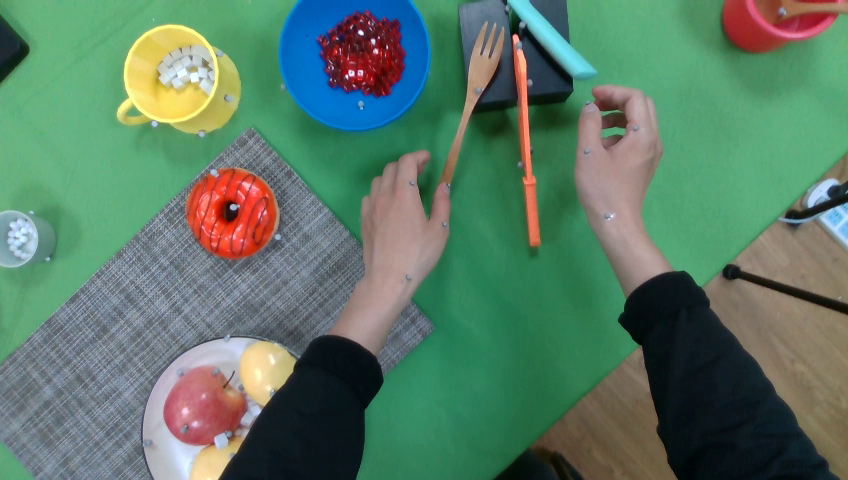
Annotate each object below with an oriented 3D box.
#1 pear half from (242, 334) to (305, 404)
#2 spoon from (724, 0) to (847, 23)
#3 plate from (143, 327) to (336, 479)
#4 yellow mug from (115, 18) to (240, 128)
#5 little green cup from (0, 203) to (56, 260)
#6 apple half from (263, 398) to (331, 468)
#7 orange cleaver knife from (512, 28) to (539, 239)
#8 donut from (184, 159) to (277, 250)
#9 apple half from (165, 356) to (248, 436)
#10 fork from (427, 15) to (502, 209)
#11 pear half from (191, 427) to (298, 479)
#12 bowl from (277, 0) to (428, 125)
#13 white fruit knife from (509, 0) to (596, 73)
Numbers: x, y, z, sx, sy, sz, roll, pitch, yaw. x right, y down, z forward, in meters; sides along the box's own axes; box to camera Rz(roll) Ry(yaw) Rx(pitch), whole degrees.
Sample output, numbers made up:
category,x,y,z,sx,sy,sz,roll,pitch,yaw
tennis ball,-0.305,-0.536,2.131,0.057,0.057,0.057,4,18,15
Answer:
category,x,y,z,sx,sy,sz,roll,pitch,yaw
pear half,-0.164,0.144,0.642,0.070,0.031,0.088,-17,95,22
spoon,0.384,-0.225,0.575,0.192,0.022,0.041,24,93,46
plate,-0.195,0.195,0.658,0.209,0.038,0.209,0,91,3
yellow mug,-0.269,-0.166,0.642,0.131,0.064,0.100,-32,90,4
little green cup,-0.442,-0.009,0.667,0.061,0.038,0.061,0,91,3
apple half,-0.143,0.209,0.640,0.081,0.033,0.081,5,108,17
orange cleaver knife,0.104,-0.104,0.621,0.012,0.076,0.213,-6,117,7
donut,-0.207,-0.037,0.650,0.099,0.048,0.099,0,93,4
apple half,-0.236,0.170,0.642,0.074,0.053,0.081,-38,93,3
fork,0.037,-0.123,0.620,0.028,0.018,0.208,14,112,-10
pear half,-0.191,0.245,0.645,0.110,0.056,0.076,8,95,-1
bowl,-0.068,-0.189,0.628,0.151,0.077,0.151,0,92,2
white fruit knife,0.093,-0.242,0.602,0.027,0.016,0.207,-40,87,-26
